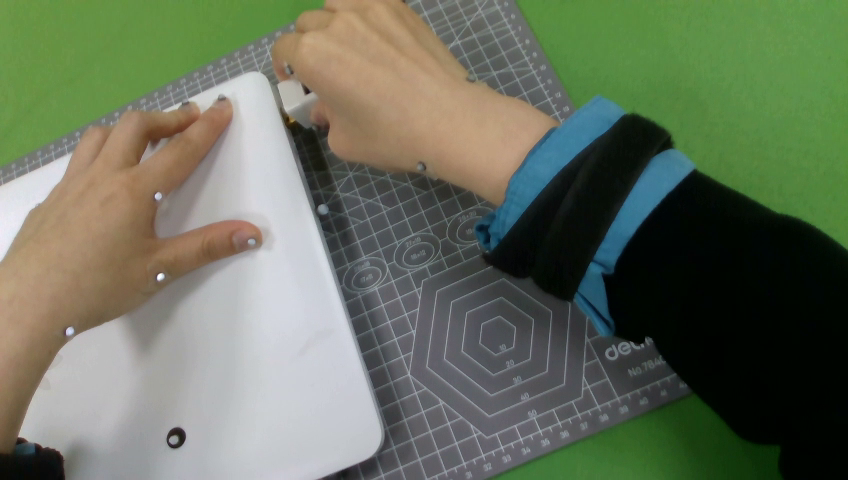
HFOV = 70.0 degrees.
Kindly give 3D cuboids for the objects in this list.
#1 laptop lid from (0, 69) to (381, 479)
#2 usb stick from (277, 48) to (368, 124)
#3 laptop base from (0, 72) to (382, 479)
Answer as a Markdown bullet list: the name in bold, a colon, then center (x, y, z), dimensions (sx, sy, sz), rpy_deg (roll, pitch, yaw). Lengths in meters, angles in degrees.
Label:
- **laptop lid**: center (-0.218, 0.065, 0.341), dimensions (0.356, 0.013, 0.240), rpy_deg (-21, 73, 6)
- **usb stick**: center (-0.064, -0.084, 0.346), dimensions (0.059, 0.027, 0.021), rpy_deg (-22, 71, 13)
- **laptop base**: center (-0.216, 0.066, 0.352), dimensions (0.354, 0.023, 0.234), rpy_deg (-23, 73, 5)
